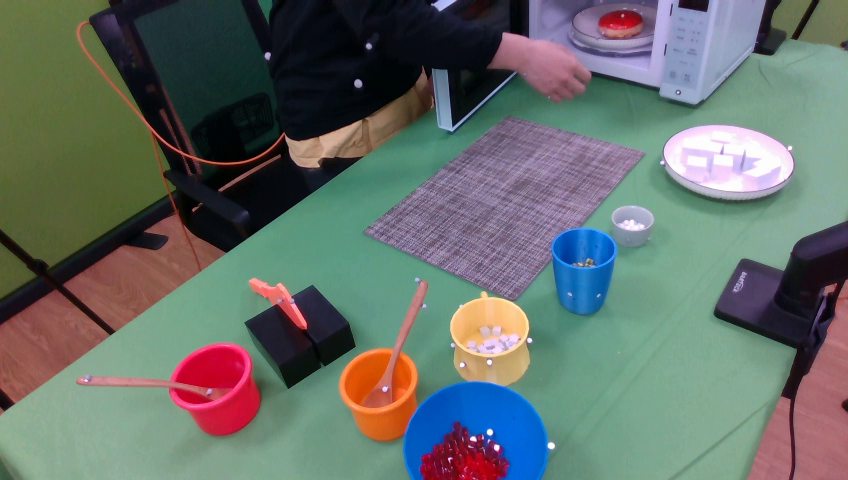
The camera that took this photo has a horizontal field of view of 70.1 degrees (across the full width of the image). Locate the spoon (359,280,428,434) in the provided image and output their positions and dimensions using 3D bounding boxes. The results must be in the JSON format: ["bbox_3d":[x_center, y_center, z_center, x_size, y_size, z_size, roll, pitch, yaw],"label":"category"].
[{"bbox_3d":[-0.032,0.138,0.719,0.041,0.193,0.022,22,4,29],"label":"spoon"}]

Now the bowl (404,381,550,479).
[{"bbox_3d":[0.058,0.235,0.645,0.151,0.077,0.150,-4,39,4],"label":"bowl"}]

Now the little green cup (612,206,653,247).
[{"bbox_3d":[0.321,-0.019,0.936,0.061,0.039,0.061,-4,40,4],"label":"little green cup"}]

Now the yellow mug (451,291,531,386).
[{"bbox_3d":[0.085,0.120,0.786,0.100,0.064,0.130,-7,39,1],"label":"yellow mug"}]

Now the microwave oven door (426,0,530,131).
[{"bbox_3d":[0.125,-0.418,1.250,0.039,0.245,0.356,19,47,28],"label":"microwave oven door"}]

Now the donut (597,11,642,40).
[{"bbox_3d":[0.435,-0.479,1.347,0.099,0.048,0.098,-5,38,4],"label":"donut"}]

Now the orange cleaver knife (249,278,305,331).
[{"bbox_3d":[-0.210,0.089,0.855,0.012,0.077,0.210,-28,15,-25],"label":"orange cleaver knife"}]

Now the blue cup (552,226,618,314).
[{"bbox_3d":[0.218,0.047,0.825,0.092,0.101,0.092,-6,40,5],"label":"blue cup"}]

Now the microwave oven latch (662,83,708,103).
[{"bbox_3d":[0.518,-0.296,1.204,0.078,0.029,0.030,28,52,35],"label":"microwave oven latch"}]

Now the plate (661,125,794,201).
[{"bbox_3d":[0.513,-0.128,1.035,0.207,0.039,0.206,-4,40,4],"label":"plate"}]

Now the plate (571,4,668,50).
[{"bbox_3d":[0.435,-0.474,1.358,0.209,0.038,0.208,-4,41,4],"label":"plate"}]

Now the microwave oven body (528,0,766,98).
[{"bbox_3d":[0.472,-0.513,1.317,0.438,0.261,0.327,26,51,34],"label":"microwave oven body"}]

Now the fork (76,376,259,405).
[{"bbox_3d":[-0.295,0.176,0.716,0.209,0.018,0.028,19,27,-37],"label":"fork"}]
